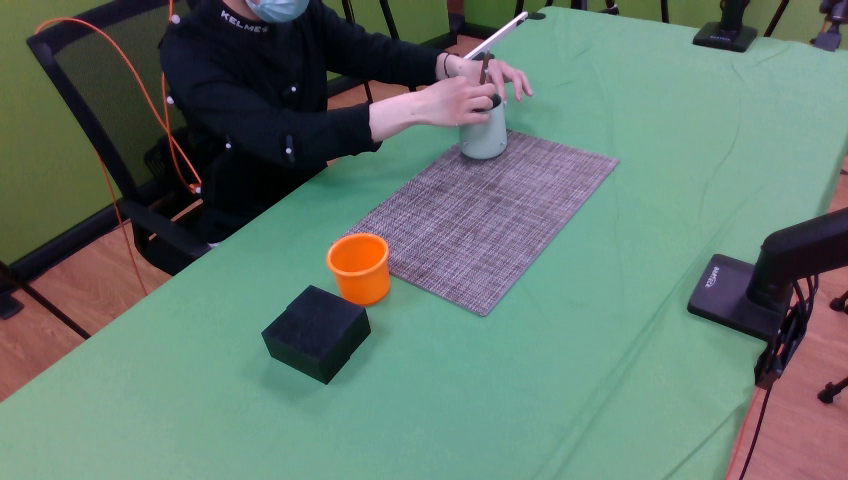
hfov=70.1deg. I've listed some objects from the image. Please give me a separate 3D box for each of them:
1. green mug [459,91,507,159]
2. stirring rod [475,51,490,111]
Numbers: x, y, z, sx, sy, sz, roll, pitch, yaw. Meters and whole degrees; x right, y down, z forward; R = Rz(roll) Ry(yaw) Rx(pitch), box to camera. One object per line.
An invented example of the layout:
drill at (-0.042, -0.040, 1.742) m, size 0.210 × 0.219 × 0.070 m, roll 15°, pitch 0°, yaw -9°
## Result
green mug at (0.117, -0.225, 1.144) m, size 0.092 × 0.105 × 0.125 m, roll 14°, pitch 45°, yaw 24°
stirring rod at (0.101, -0.260, 1.106) m, size 0.006 × 0.176 × 0.014 m, roll 27°, pitch 41°, yaw 23°
